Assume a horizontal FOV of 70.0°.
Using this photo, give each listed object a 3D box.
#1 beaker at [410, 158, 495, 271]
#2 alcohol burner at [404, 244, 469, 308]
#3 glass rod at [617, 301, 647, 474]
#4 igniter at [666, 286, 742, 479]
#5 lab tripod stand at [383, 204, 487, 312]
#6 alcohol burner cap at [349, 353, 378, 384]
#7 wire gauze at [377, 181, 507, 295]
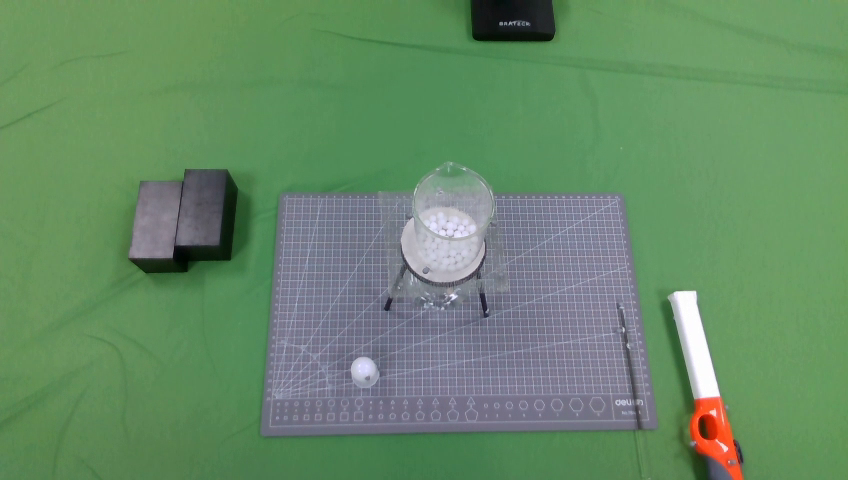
[{"bbox_3d":[0.023,-0.020,0.580,0.074,0.101,0.083,-3,67,-4],"label":"beaker"},{"bbox_3d":[0.015,0.035,0.692,0.078,0.120,0.077,1,67,-1],"label":"alcohol burner"},{"bbox_3d":[0.242,0.168,0.709,0.008,0.008,0.198,-1,69,-3],"label":"glass rod"},{"bbox_3d":[0.325,0.187,0.699,0.057,0.025,0.274,0,69,-13],"label":"igniter"},{"bbox_3d":[0.015,0.022,0.686,0.148,0.132,0.147,0,68,-1],"label":"lab tripod stand"},{"bbox_3d":[-0.069,0.143,0.686,0.034,0.048,0.033,1,69,-3],"label":"alcohol burner cap"},{"bbox_3d":[0.017,-0.004,0.625,0.125,0.011,0.120,-5,67,-3],"label":"wire gauze"}]
